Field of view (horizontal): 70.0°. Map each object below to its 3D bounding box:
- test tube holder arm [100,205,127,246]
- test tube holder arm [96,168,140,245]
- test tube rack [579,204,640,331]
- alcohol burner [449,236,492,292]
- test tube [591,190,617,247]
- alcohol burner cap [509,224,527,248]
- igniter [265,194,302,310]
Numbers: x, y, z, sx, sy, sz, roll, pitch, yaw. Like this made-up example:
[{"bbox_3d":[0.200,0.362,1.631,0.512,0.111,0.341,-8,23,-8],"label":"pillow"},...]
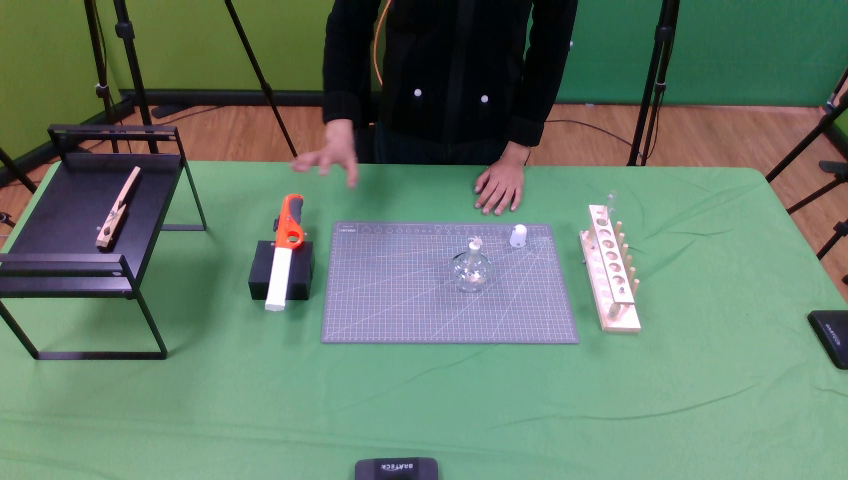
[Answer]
[{"bbox_3d":[-0.480,-0.025,0.938,0.010,0.015,0.087,27,37,-26],"label":"test tube holder arm"},{"bbox_3d":[-0.486,-0.058,0.968,0.013,0.015,0.177,27,37,-26],"label":"test tube holder arm"},{"bbox_3d":[0.353,0.047,1.137,0.067,0.085,0.241,2,46,-2],"label":"test tube rack"},{"bbox_3d":[0.087,0.038,1.101,0.078,0.119,0.077,3,45,-3],"label":"alcohol burner"},{"bbox_3d":[0.340,-0.038,1.149,0.017,0.151,0.017,1,50,-1],"label":"test tube"},{"bbox_3d":[0.189,-0.011,1.206,0.034,0.048,0.033,1,46,-1],"label":"alcohol burner cap"},{"bbox_3d":[-0.253,0.011,1.099,0.057,0.025,0.274,9,46,-12],"label":"igniter"}]
